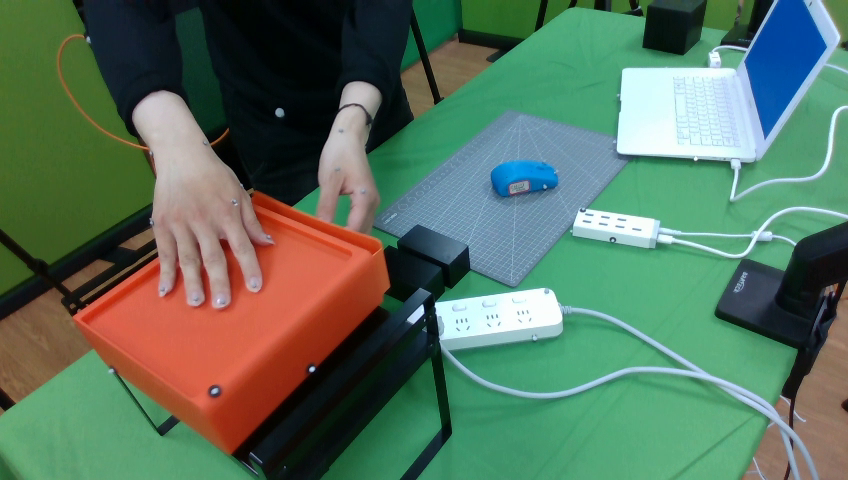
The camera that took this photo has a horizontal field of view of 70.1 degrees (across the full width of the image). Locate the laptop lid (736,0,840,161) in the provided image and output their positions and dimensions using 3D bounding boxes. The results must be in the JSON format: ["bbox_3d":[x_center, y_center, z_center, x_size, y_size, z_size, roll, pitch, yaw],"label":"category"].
[{"bbox_3d":[0.641,-0.327,1.090,0.013,0.242,0.356,16,43,5],"label":"laptop lid"}]

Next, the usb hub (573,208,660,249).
[{"bbox_3d":[0.301,-0.019,0.949,0.124,0.025,0.049,11,43,20],"label":"usb hub"}]

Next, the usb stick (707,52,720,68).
[{"bbox_3d":[0.629,-0.382,1.313,0.021,0.027,0.059,3,46,16],"label":"usb stick"}]

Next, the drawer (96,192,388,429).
[{"bbox_3d":[-0.176,0.056,0.609,0.193,0.073,0.212,21,49,29],"label":"drawer"}]

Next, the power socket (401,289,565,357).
[{"bbox_3d":[0.081,0.112,0.822,0.227,0.033,0.072,-7,41,-1],"label":"power socket"}]

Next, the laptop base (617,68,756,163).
[{"bbox_3d":[0.509,-0.255,1.201,0.234,0.023,0.353,4,41,16],"label":"laptop base"}]

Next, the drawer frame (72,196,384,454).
[{"bbox_3d":[-0.183,0.067,0.597,0.200,0.083,0.214,21,49,28],"label":"drawer frame"}]

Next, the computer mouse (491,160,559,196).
[{"bbox_3d":[0.177,-0.114,1.066,0.117,0.041,0.062,-8,39,-6],"label":"computer mouse"}]

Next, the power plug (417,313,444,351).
[{"bbox_3d":[0.007,0.127,0.786,0.035,0.053,0.072,1,43,9],"label":"power plug"}]
